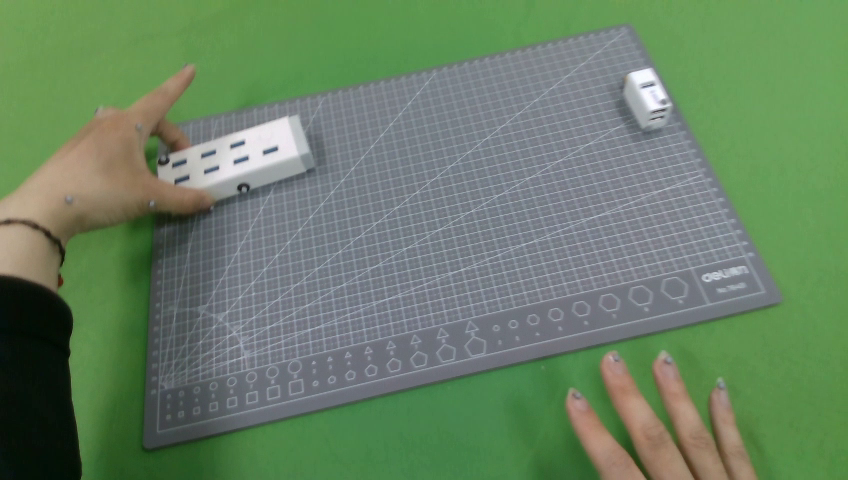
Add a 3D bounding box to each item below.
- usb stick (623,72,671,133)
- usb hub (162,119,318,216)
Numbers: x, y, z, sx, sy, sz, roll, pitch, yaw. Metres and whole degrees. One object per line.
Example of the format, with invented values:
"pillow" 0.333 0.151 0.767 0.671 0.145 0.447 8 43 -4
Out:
"usb stick" 0.185 -0.121 0.510 0.021 0.027 0.058 -15 56 1
"usb hub" -0.158 -0.064 0.520 0.125 0.025 0.049 -19 59 -5
